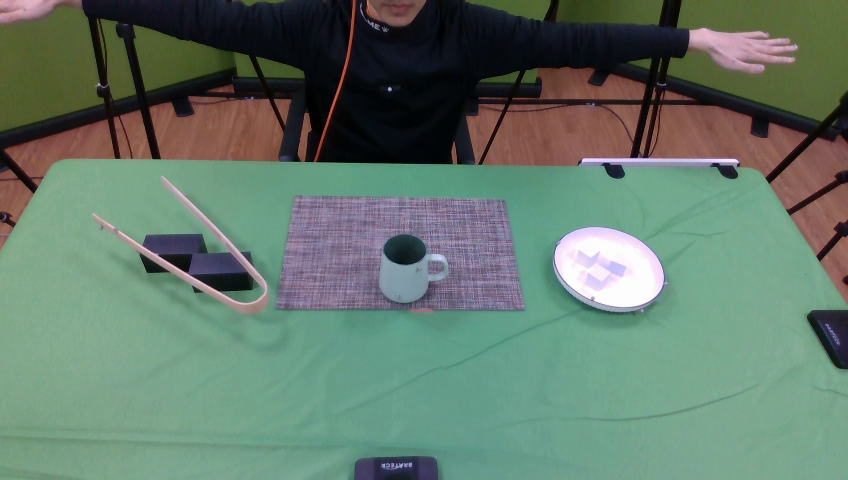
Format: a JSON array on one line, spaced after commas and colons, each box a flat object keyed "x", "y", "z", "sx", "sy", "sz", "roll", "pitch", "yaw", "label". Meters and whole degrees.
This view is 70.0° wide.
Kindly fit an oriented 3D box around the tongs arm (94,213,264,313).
[{"x": -0.437, "y": 0.032, "z": 1.063, "sx": 0.383, "sy": 0.026, "sz": 0.050, "roll": 29, "pitch": 47, "yaw": 22, "label": "tongs arm"}]

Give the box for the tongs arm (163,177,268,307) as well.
[{"x": -0.387, "y": -0.008, "z": 1.108, "sx": 0.028, "sy": 0.028, "sz": 0.385, "roll": -27, "pitch": 53, "yaw": -35, "label": "tongs arm"}]

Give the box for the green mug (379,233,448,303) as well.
[{"x": -0.019, "y": 0.050, "z": 1.084, "sx": 0.125, "sy": 0.105, "sz": 0.092, "roll": -1, "pitch": 46, "yaw": -4, "label": "green mug"}]

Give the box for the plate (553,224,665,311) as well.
[{"x": 0.349, "y": 0.055, "z": 1.159, "sx": 0.209, "sy": 0.038, "sz": 0.208, "roll": 2, "pitch": 47, "yaw": -2, "label": "plate"}]
